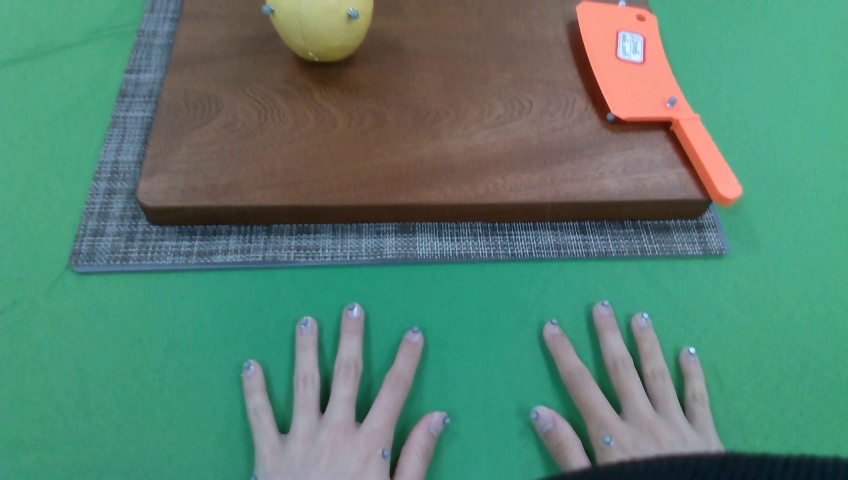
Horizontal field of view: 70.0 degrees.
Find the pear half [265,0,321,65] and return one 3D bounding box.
[{"bbox_3d":[-0.088,-0.190,0.445,0.056,0.110,0.076,25,54,12],"label":"pear half"}]

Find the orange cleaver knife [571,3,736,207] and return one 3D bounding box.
[{"bbox_3d":[0.170,-0.113,0.467,0.077,0.012,0.209,-6,60,-11],"label":"orange cleaver knife"}]

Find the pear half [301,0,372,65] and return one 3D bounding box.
[{"bbox_3d":[-0.058,-0.168,0.445,0.031,0.089,0.070,23,54,13],"label":"pear half"}]
